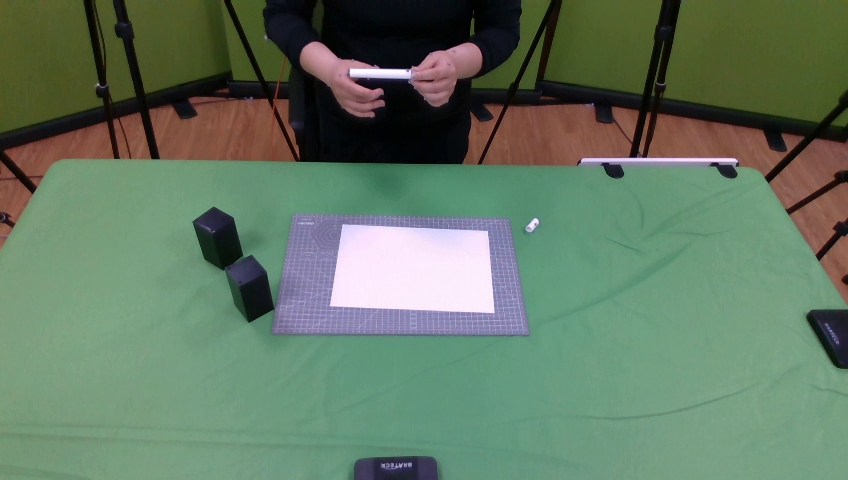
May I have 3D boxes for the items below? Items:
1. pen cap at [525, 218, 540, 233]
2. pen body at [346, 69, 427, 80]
[{"bbox_3d":[0.224,-0.031,1.248,0.017,0.017,0.038,30,51,23],"label":"pen cap"},{"bbox_3d":[-0.067,-0.297,1.092,0.144,0.017,0.017,2,45,0],"label":"pen body"}]
